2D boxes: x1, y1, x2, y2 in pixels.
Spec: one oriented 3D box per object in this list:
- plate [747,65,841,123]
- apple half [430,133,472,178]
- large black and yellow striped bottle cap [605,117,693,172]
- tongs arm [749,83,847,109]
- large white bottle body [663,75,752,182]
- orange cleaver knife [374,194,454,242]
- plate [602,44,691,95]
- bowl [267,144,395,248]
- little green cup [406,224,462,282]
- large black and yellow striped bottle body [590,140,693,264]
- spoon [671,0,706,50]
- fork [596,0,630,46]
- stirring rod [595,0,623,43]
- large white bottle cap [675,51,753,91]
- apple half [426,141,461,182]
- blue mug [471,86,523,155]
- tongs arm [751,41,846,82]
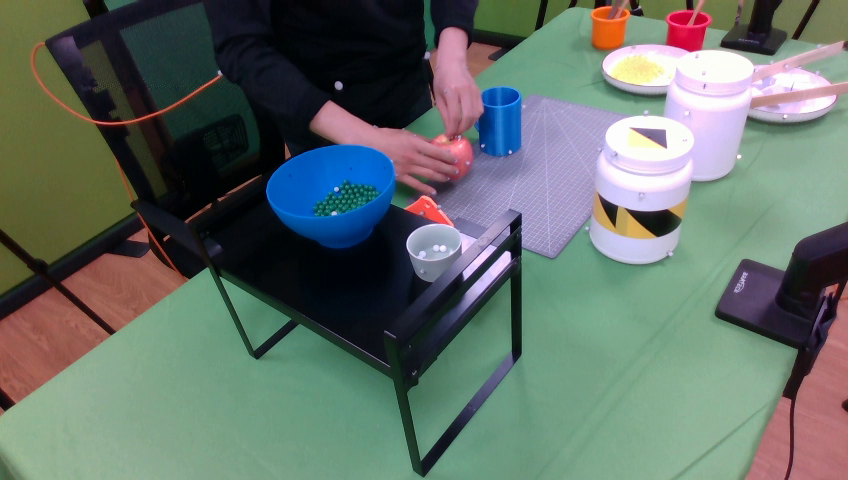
[{"bbox_3d":[0.694,-0.283,1.189,0.207,0.039,0.206,-4,40,4],"label":"plate"},{"bbox_3d":[0.055,-0.153,1.068,0.080,0.075,0.053,23,49,41],"label":"apple half"},{"bbox_3d":[0.309,-0.134,0.833,0.115,0.019,0.114,-5,40,5],"label":"large black and yellow striped bottle cap"},{"bbox_3d":[0.734,-0.280,1.133,0.388,0.028,0.028,-9,47,-5],"label":"tongs arm"},{"bbox_3d":[0.472,-0.207,1.022,0.130,0.185,0.130,-4,41,4],"label":"large white bottle body"},{"bbox_3d":[-0.032,-0.026,0.965,0.210,0.077,0.012,-9,29,51],"label":"orange cleaver knife"},{"bbox_3d":[0.495,-0.367,1.317,0.209,0.038,0.208,-4,40,4],"label":"plate"},{"bbox_3d":[-0.104,-0.043,0.726,0.151,0.077,0.150,-4,40,4],"label":"bowl"},{"bbox_3d":[0.012,0.015,0.668,0.061,0.039,0.061,-4,40,4],"label":"little green cup"},{"bbox_3d":[0.317,-0.071,0.889,0.131,0.185,0.130,-4,41,4],"label":"large black and yellow striped bottle body"},{"bbox_3d":[0.628,-0.520,1.394,0.041,0.022,0.193,30,96,34],"label":"spoon"},{"bbox_3d":[0.481,-0.556,1.452,0.028,0.019,0.207,40,103,40],"label":"fork"},{"bbox_3d":[0.460,-0.556,1.460,0.014,0.006,0.176,30,94,23],"label":"stirring rod"},{"bbox_3d":[0.463,-0.271,0.967,0.115,0.018,0.114,-4,40,3],"label":"large white bottle cap"},{"bbox_3d":[0.027,-0.130,1.048,0.080,0.081,0.033,29,47,35],"label":"apple half"},{"bbox_3d":[0.135,-0.235,1.163,0.082,0.106,0.115,-36,48,-29],"label":"blue mug"},{"bbox_3d":[0.708,-0.331,1.194,0.386,0.026,0.050,-19,45,-16],"label":"tongs arm"}]
